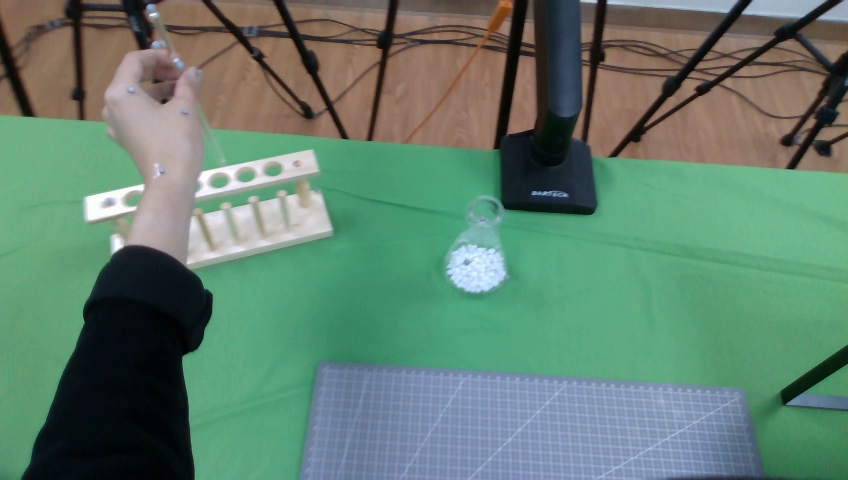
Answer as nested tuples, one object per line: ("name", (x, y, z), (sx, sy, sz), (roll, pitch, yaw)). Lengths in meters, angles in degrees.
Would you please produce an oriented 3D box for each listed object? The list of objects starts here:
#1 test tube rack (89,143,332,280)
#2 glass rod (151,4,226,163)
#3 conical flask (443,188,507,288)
("test tube rack", (-0.233, -0.033, 0.687), (0.243, 0.086, 0.066), (-14, 59, -12))
("glass rod", (-0.203, -0.126, 0.534), (0.008, 0.201, 0.008), (1, 63, -2))
("conical flask", (0.061, -0.006, 0.661), (0.075, 0.123, 0.074), (1, 57, -1))
